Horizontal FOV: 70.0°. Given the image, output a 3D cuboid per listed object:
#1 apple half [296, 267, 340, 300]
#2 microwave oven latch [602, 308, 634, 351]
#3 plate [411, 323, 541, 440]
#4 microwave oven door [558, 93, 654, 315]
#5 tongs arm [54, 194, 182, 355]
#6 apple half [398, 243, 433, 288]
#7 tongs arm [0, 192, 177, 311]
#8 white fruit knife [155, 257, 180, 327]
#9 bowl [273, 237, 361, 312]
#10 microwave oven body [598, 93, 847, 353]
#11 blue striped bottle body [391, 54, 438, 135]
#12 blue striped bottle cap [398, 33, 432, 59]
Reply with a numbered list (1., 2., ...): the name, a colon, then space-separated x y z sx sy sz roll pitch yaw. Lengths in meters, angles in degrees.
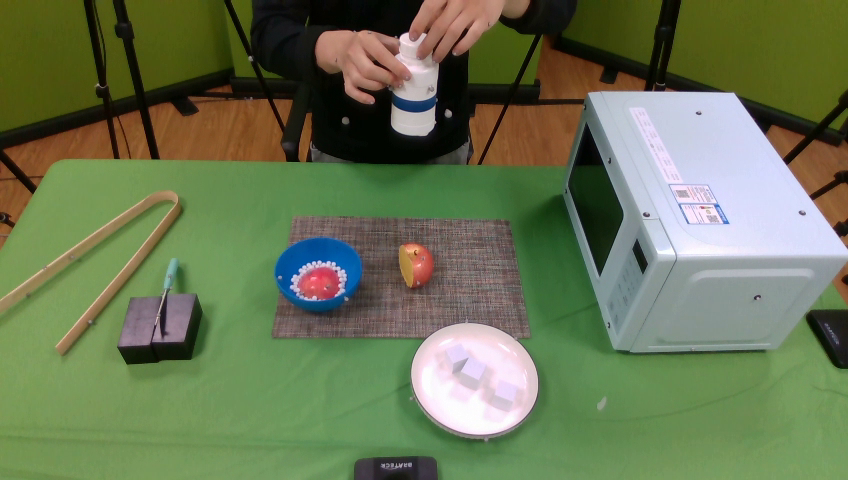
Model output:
1. apple half: -0.187 0.070 1.067 0.081 0.033 0.081 2 47 -2
2. microwave oven latch: 0.332 0.153 1.044 0.030 0.029 0.078 -1 45 -4
3. plate: 0.082 0.228 0.976 0.208 0.039 0.206 2 45 -2
4. microwave oven door: 0.327 -0.074 1.123 0.039 0.245 0.353 0 46 -5
5. tongs arm: -0.543 0.048 1.108 0.028 0.028 0.385 11 46 9
6. apple half: -0.012 0.046 1.115 0.053 0.075 0.080 -11 44 -19
7. tongs arm: -0.618 0.019 1.124 0.050 0.026 0.384 24 47 16
8. white fruit knife: -0.440 0.085 1.037 0.016 0.027 0.206 10 26 -19
9. bowl: -0.186 0.074 1.069 0.151 0.077 0.150 3 46 -3
10. microwave oven body: 0.475 -0.041 1.109 0.326 0.261 0.438 -1 45 -4
11. blue striped bottle body: -0.014 -0.210 0.827 0.063 0.121 0.062 2 41 -2
12. blue striped bottle cap: -0.012 -0.253 0.788 0.044 0.021 0.044 3 37 -2
